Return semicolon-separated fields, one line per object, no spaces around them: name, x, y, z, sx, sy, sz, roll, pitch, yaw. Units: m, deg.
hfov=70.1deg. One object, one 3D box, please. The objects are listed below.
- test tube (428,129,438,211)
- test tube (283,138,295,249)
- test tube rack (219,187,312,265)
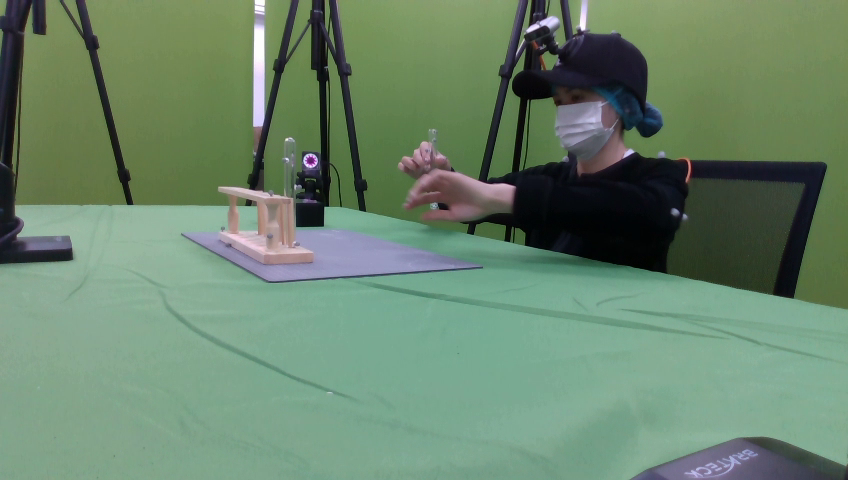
test tube;0.016;-0.129;1.113;0.017;0.150;0.017;-1;9;1
test tube;-0.182;-0.062;0.815;0.017;0.150;0.017;2;8;0
test tube rack;-0.235;-0.027;0.872;0.067;0.085;0.241;-2;8;-31
